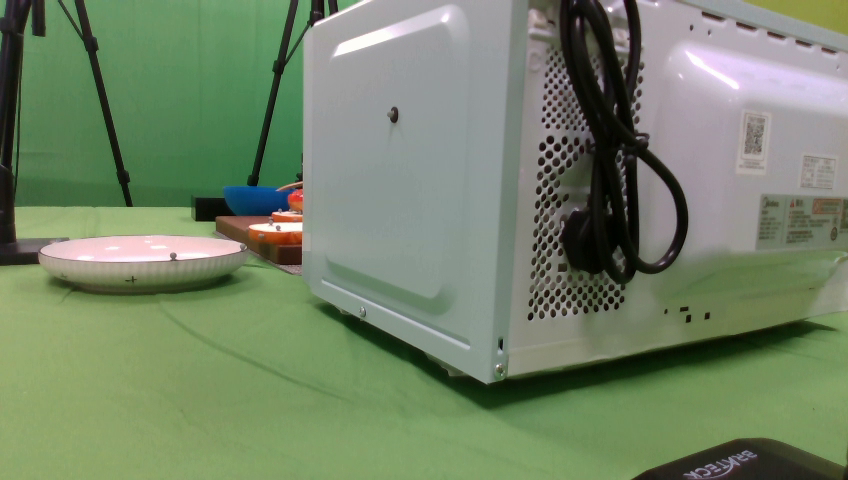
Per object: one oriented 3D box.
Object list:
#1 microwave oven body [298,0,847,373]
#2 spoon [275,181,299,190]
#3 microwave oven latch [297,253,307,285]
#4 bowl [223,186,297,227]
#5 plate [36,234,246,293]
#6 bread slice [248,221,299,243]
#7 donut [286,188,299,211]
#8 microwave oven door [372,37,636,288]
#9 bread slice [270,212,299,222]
[{"bbox_3d":[0.151,-0.055,0.542,0.444,0.260,0.324,-2,7,-33],"label":"microwave oven body"},{"bbox_3d":[-0.301,-0.101,1.260,0.041,0.021,0.194,12,29,33],"label":"spoon"},{"bbox_3d":[-0.082,0.027,0.582,0.079,0.029,0.030,-1,7,-32],"label":"microwave oven latch"},{"bbox_3d":[-0.330,-0.068,1.230,0.151,0.077,0.151,3,7,0],"label":"bowl"},{"bbox_3d":[-0.305,0.026,0.668,0.208,0.039,0.207,3,7,0],"label":"plate"},{"bbox_3d":[-0.174,-0.012,0.844,0.135,0.018,0.106,-6,11,-44],"label":"bread slice"},{"bbox_3d":[-0.190,-0.068,1.055,0.099,0.048,0.099,3,7,0],"label":"donut"},{"bbox_3d":[0.109,-0.080,0.686,0.358,0.243,0.039,-2,9,-33],"label":"microwave oven door"},{"bbox_3d":[-0.197,-0.038,1.051,0.132,0.019,0.104,-1,6,-30],"label":"bread slice"}]
